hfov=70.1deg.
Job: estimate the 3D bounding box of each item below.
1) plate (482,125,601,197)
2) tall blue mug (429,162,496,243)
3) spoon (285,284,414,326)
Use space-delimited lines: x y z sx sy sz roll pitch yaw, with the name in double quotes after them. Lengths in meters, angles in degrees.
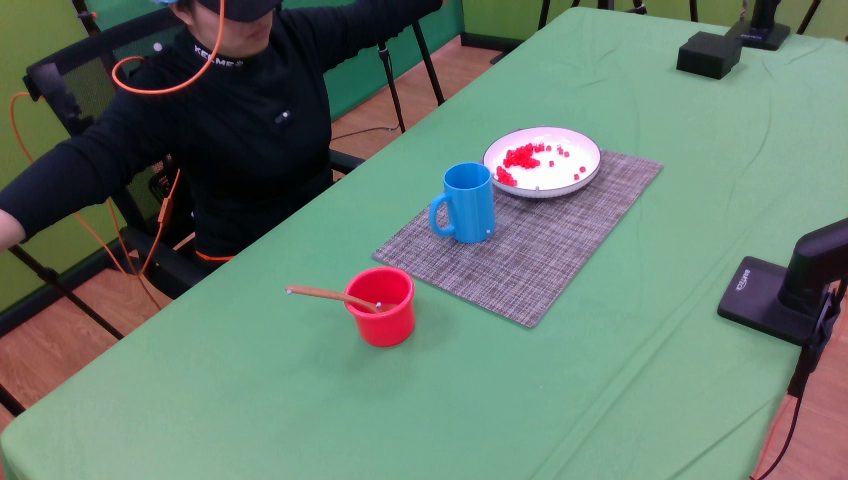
0.210 -0.138 1.091 0.207 0.039 0.206 -5 40 5 "plate"
0.066 -0.051 0.960 0.077 0.108 0.107 17 47 27 "tall blue mug"
-0.096 0.083 0.812 0.195 0.021 0.041 22 31 -34 "spoon"
